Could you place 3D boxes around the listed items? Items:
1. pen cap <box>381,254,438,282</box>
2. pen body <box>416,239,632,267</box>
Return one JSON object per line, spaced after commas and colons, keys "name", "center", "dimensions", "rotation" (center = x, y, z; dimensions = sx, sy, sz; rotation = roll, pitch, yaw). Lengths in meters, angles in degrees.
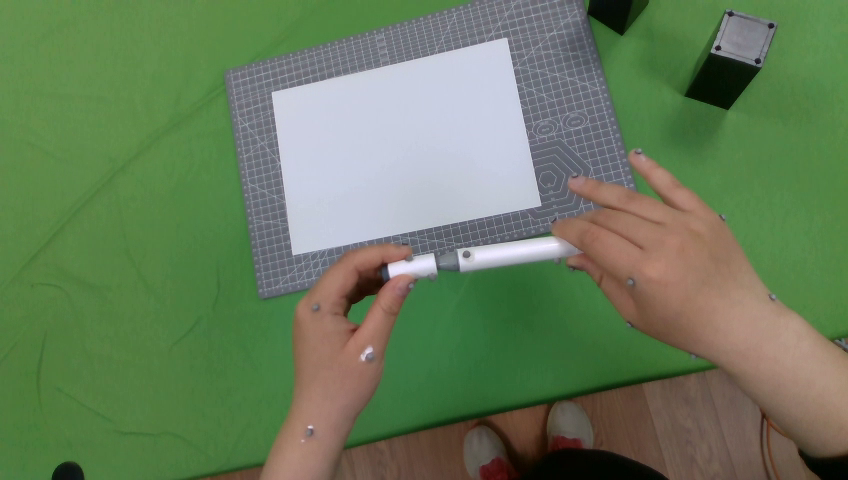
{"name": "pen cap", "center": [-0.009, 0.019, 0.405], "dimensions": [0.038, 0.017, 0.017], "rotation": [-8, 79, 4]}
{"name": "pen body", "center": [0.067, 0.009, 0.409], "dimensions": [0.144, 0.017, 0.017], "rotation": [2, 80, -2]}
